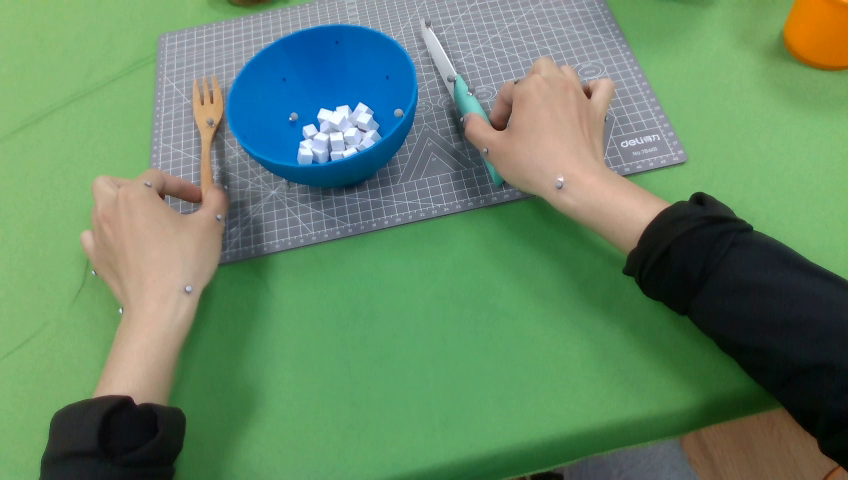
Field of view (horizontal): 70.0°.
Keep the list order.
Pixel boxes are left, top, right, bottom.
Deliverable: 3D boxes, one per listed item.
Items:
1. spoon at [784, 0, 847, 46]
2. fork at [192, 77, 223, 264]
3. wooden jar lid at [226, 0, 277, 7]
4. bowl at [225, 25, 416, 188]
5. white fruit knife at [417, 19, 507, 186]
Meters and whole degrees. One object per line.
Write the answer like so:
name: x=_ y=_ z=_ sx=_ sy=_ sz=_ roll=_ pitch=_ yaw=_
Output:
spoon: x=0.387 y=-0.217 z=0.477 sx=0.022 sy=0.193 sz=0.041 roll=17 pitch=56 yaw=-35
fork: x=-0.190 y=-0.068 z=0.532 sx=0.028 sy=0.019 sz=0.205 roll=-10 pitch=57 yaw=-6
wooden jar lid: x=-0.185 y=-0.296 z=0.669 sx=0.108 sy=0.021 sz=0.107 roll=-2 pitch=59 yaw=4
bowl: x=-0.076 y=-0.095 z=0.500 sx=0.151 sy=0.077 sz=0.150 roll=-3 pitch=59 yaw=6
white fruit knife: x=0.028 y=-0.133 z=0.540 sx=0.016 sy=0.027 sz=0.205 roll=-8 pitch=56 yaw=-24
